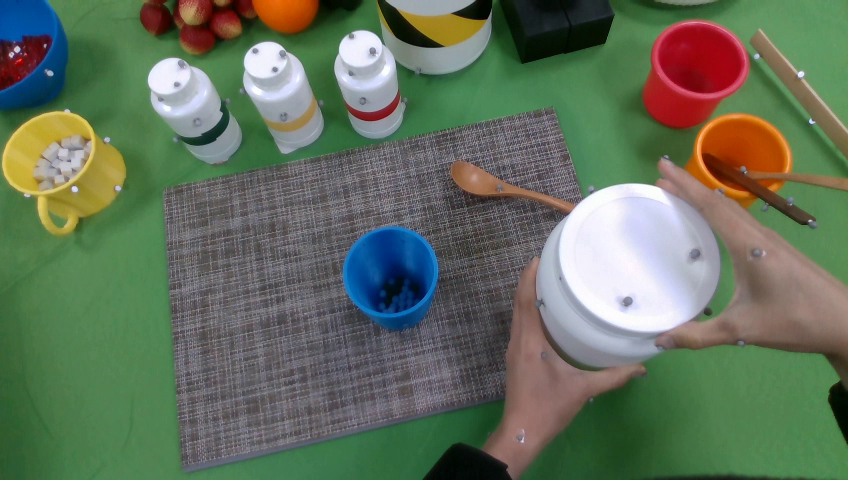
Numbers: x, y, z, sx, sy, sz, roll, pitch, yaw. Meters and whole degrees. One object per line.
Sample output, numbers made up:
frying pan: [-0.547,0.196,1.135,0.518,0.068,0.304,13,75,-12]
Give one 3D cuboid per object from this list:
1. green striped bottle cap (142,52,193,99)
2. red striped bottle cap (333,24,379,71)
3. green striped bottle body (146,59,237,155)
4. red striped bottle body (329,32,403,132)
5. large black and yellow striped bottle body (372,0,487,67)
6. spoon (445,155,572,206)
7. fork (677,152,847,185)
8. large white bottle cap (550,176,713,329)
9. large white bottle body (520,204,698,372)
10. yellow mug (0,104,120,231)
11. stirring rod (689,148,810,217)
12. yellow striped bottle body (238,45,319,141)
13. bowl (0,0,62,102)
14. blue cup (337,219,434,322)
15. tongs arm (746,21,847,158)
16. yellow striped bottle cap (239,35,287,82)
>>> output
green striped bottle cap: [-0.252,-0.162,0.594,0.044,0.020,0.044,-1,69,2]
red striped bottle cap: [-0.066,-0.189,0.594,0.044,0.018,0.044,0,68,-1]
green striped bottle body: [-0.248,-0.144,0.643,0.063,0.120,0.063,-1,70,3]
red striped bottle body: [-0.062,-0.171,0.644,0.063,0.120,0.062,-2,69,7]
large black and yellow striped bottle body: [0.004,-0.291,0.648,0.131,0.185,0.130,-1,70,3]
spoon: [0.114,-0.051,0.641,0.193,0.022,0.041,18,47,8]
fork: [0.334,-0.064,0.572,0.028,0.019,0.205,-51,32,-13]
large white bottle cap: [0.150,0.007,0.442,0.115,0.018,0.114,-1,70,4]
large white bottle body: [0.156,0.036,0.521,0.130,0.186,0.129,-1,70,3]
yellow mug: [-0.396,-0.073,0.654,0.100,0.064,0.130,-3,71,1]
stirring rod: [0.303,-0.059,0.579,0.014,0.006,0.174,-10,27,-4]
yellow striped bottle body: [-0.155,-0.161,0.644,0.063,0.121,0.062,-1,70,4]
bowl: [-0.484,-0.215,0.701,0.151,0.077,0.150,-1,71,2]
blue cup: [-0.032,0.038,0.575,0.092,0.101,0.092,0,70,2]
tongs arm: [0.473,-0.090,0.633,0.051,0.027,0.382,-24,72,-8]
yellow striped bottle cap: [-0.158,-0.179,0.596,0.044,0.019,0.044,-1,72,2]
